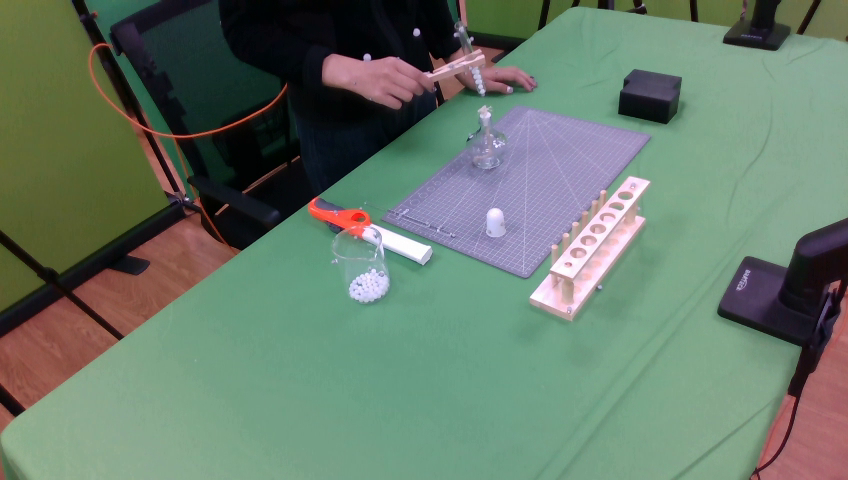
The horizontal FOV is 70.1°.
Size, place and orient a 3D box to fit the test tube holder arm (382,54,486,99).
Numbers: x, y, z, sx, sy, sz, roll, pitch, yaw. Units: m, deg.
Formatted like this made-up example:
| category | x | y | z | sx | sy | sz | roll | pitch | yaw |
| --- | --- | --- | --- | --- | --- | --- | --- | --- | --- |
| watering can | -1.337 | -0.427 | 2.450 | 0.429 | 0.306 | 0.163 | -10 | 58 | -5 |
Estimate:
| category | x | y | z | sx | sy | sz | roll | pitch | yaw |
| --- | --- | --- | --- | --- | --- | --- | --- | --- | --- |
| test tube holder arm | 0.016 | -0.271 | 1.001 | 0.178 | 0.015 | 0.013 | -20 | 51 | 3 |

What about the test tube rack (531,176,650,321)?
| category | x | y | z | sx | sy | sz | roll | pitch | yaw |
| --- | --- | --- | --- | --- | --- | --- | --- | --- | --- |
| test tube rack | 0.246 | 0.002 | 0.884 | 0.066 | 0.085 | 0.243 | 22 | 49 | 32 |

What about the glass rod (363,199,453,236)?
| category | x | y | z | sx | sy | sz | roll | pitch | yaw |
| --- | --- | --- | --- | --- | --- | --- | --- | --- | --- |
| glass rod | -0.031 | -0.041 | 1.041 | 0.198 | 0.008 | 0.008 | 22 | 50 | 31 |

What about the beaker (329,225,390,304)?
| category | x | y | z | sx | sy | sz | roll | pitch | yaw |
| --- | --- | --- | --- | --- | --- | --- | --- | --- | --- |
| beaker | -0.089 | 0.040 | 0.890 | 0.074 | 0.101 | 0.083 | -32 | 46 | -24 |

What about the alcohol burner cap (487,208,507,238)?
| category | x | y | z | sx | sy | sz | roll | pitch | yaw |
| --- | --- | --- | --- | --- | --- | --- | --- | --- | --- |
| alcohol burner cap | 0.116 | -0.030 | 0.975 | 0.034 | 0.048 | 0.033 | -6 | 40 | 5 |

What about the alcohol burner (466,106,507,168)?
| category | x | y | z | sx | sy | sz | roll | pitch | yaw |
| --- | --- | --- | --- | --- | --- | --- | --- | --- | --- |
| alcohol burner | 0.114 | -0.193 | 1.112 | 0.078 | 0.119 | 0.077 | -4 | 41 | 4 |

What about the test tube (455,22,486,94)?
| category | x | y | z | sx | sy | sz | roll | pitch | yaw |
| --- | --- | --- | --- | --- | --- | --- | --- | --- | --- |
| test tube | 0.079 | -0.298 | 1.000 | 0.017 | 0.151 | 0.017 | -10 | 57 | 16 |

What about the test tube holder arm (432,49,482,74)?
| category | x | y | z | sx | sy | sz | roll | pitch | yaw |
| --- | --- | --- | --- | --- | --- | --- | --- | --- | --- |
| test tube holder arm | 0.056 | -0.291 | 1.004 | 0.088 | 0.015 | 0.010 | -26 | 51 | -2 |

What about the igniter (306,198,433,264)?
| category | x | y | z | sx | sy | sz | roll | pitch | yaw |
| --- | --- | --- | --- | --- | --- | --- | --- | --- | --- |
| igniter | -0.102 | -0.020 | 1.019 | 0.274 | 0.025 | 0.057 | 22 | 59 | 32 |
